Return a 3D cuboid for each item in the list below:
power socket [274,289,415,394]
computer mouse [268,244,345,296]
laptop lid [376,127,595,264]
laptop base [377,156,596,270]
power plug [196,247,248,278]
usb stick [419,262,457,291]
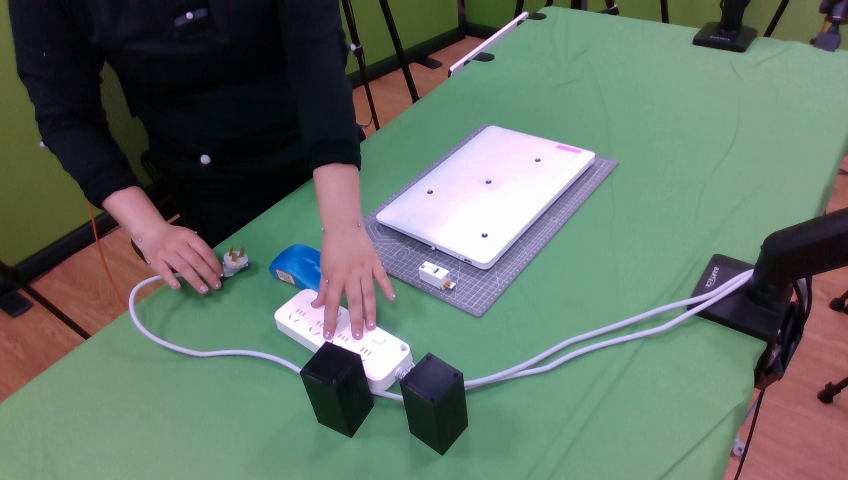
[{"bbox_3d":[-0.114,0.132,0.820,0.225,0.033,0.072,25,47,32],"label":"power socket"},{"bbox_3d":[-0.182,0.044,0.932,0.116,0.041,0.063,23,46,24],"label":"computer mouse"},{"bbox_3d":[0.112,-0.096,1.051,0.239,0.013,0.358,24,49,34],"label":"laptop lid"},{"bbox_3d":[0.115,-0.086,1.056,0.233,0.023,0.355,21,48,34],"label":"laptop base"},{"bbox_3d":[-0.307,0.037,0.937,0.035,0.052,0.073,40,31,25],"label":"power plug"},{"bbox_3d":[0.022,0.056,0.892,0.058,0.027,0.021,25,47,32],"label":"usb stick"}]
